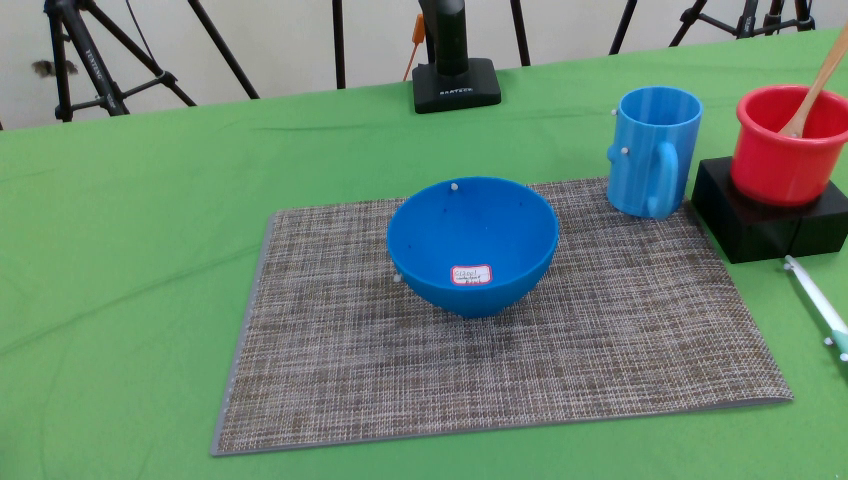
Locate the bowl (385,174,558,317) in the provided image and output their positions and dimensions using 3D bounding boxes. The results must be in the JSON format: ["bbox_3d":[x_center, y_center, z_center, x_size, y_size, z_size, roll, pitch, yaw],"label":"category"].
[{"bbox_3d":[0.044,0.016,0.549,0.151,0.077,0.150,-5,42,5],"label":"bowl"}]

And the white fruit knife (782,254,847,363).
[{"bbox_3d":[0.340,0.080,0.486,0.027,0.016,0.205,15,38,-15],"label":"white fruit knife"}]

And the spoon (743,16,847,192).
[{"bbox_3d":[0.348,-0.129,0.542,0.041,0.022,0.194,32,100,38],"label":"spoon"}]

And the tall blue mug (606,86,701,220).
[{"bbox_3d":[0.234,-0.079,0.601,0.078,0.109,0.106,-20,43,-13],"label":"tall blue mug"}]
